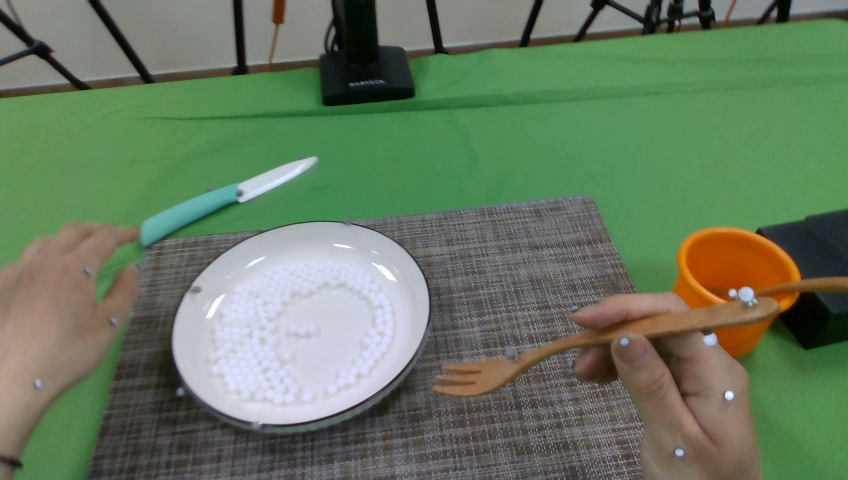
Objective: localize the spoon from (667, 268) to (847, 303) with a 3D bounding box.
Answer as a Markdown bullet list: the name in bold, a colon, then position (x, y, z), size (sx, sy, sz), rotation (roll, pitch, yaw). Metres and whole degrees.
- **spoon**: position (0.269, 0.033, 0.454), size (0.041, 0.193, 0.022), rotation (-35, 99, -31)

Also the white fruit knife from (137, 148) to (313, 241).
- **white fruit knife**: position (-0.205, -0.056, 0.640), size (0.207, 0.016, 0.027), rotation (-31, 76, -30)

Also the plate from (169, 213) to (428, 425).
- **plate**: position (-0.099, 0.061, 0.504), size (0.209, 0.038, 0.207), rotation (-1, 46, 1)

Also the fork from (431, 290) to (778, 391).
- **fork**: position (0.077, 0.056, 0.321), size (0.019, 0.207, 0.028), rotation (46, 47, -16)
